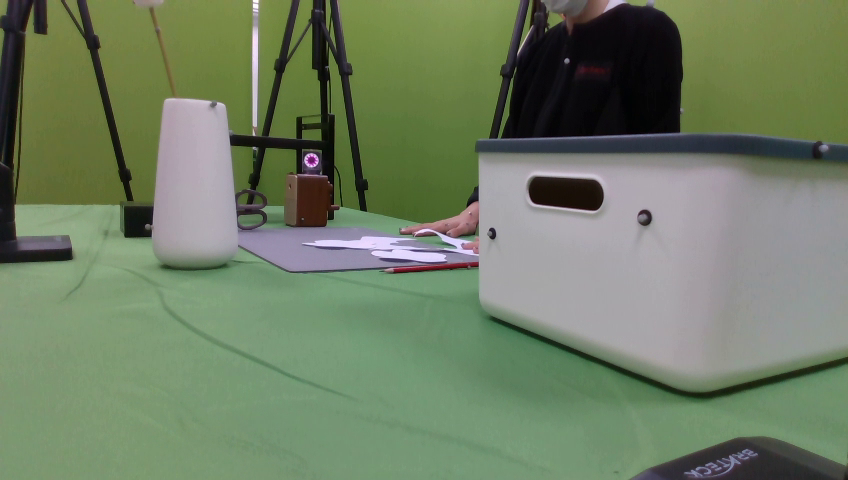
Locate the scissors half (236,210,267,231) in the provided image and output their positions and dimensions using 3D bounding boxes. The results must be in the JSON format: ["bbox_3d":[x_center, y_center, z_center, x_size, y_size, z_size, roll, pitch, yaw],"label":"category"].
[{"bbox_3d":[-0.367,-0.042,1.071,0.176,0.040,0.012,7,11,-31],"label":"scissors half"}]

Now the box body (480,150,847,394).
[{"bbox_3d":[0.254,0.002,0.539,0.366,0.160,0.253,-2,8,-31],"label":"box body"}]

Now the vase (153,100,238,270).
[{"bbox_3d":[-0.278,-0.066,0.736,0.098,0.200,0.098,2,9,0],"label":"vase"}]

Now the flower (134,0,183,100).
[{"bbox_3d":[-0.282,-0.147,0.713,0.038,0.362,0.044,-23,24,-31],"label":"flower"}]

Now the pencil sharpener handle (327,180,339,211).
[{"bbox_3d":[-0.194,-0.094,1.256,0.031,0.067,0.036,-2,-5,-36],"label":"pencil sharpener handle"}]

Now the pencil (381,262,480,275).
[{"bbox_3d":[0.030,0.036,0.794,0.195,0.012,0.012,-3,9,-30],"label":"pencil"}]

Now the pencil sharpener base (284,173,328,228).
[{"bbox_3d":[-0.239,-0.081,1.231,0.077,0.107,0.061,-2,8,-36],"label":"pencil sharpener base"}]

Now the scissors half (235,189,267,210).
[{"bbox_3d":[-0.365,-0.062,1.067,0.176,0.040,0.013,-12,15,-28],"label":"scissors half"}]

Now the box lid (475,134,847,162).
[{"bbox_3d":[0.256,-0.073,0.529,0.373,0.015,0.262,-2,8,-31],"label":"box lid"}]
